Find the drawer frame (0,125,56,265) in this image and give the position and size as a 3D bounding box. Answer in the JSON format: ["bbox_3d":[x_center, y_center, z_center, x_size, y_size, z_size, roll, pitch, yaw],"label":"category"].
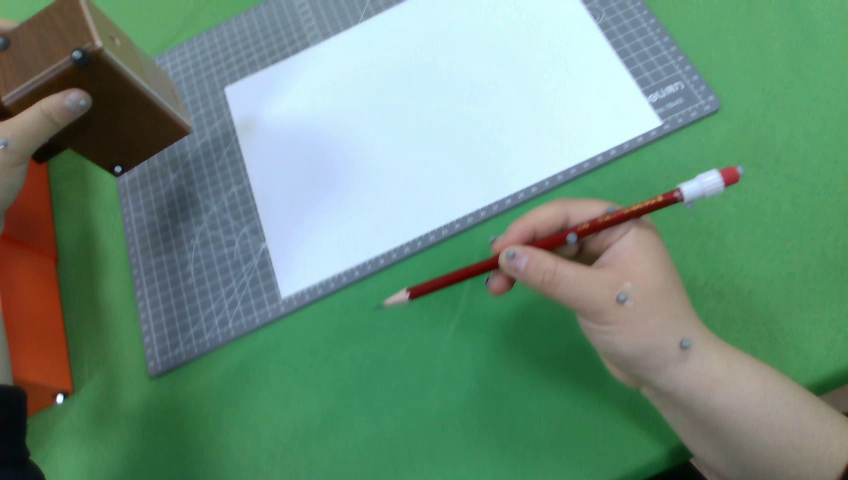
[{"bbox_3d":[-0.435,-0.035,0.518,0.201,0.083,0.211,-26,63,3],"label":"drawer frame"}]

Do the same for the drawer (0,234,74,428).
[{"bbox_3d":[-0.390,0.061,0.469,0.194,0.074,0.209,-27,64,4],"label":"drawer"}]

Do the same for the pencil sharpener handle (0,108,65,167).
[{"bbox_3d":[-0.276,-0.075,0.410,0.030,0.068,0.035,-33,63,1],"label":"pencil sharpener handle"}]

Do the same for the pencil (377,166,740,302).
[{"bbox_3d":[0.065,0.000,0.312,0.194,0.012,0.012,-20,64,7],"label":"pencil"}]

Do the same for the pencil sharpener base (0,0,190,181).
[{"bbox_3d":[-0.230,-0.099,0.421,0.076,0.108,0.061,-33,67,1],"label":"pencil sharpener base"}]
